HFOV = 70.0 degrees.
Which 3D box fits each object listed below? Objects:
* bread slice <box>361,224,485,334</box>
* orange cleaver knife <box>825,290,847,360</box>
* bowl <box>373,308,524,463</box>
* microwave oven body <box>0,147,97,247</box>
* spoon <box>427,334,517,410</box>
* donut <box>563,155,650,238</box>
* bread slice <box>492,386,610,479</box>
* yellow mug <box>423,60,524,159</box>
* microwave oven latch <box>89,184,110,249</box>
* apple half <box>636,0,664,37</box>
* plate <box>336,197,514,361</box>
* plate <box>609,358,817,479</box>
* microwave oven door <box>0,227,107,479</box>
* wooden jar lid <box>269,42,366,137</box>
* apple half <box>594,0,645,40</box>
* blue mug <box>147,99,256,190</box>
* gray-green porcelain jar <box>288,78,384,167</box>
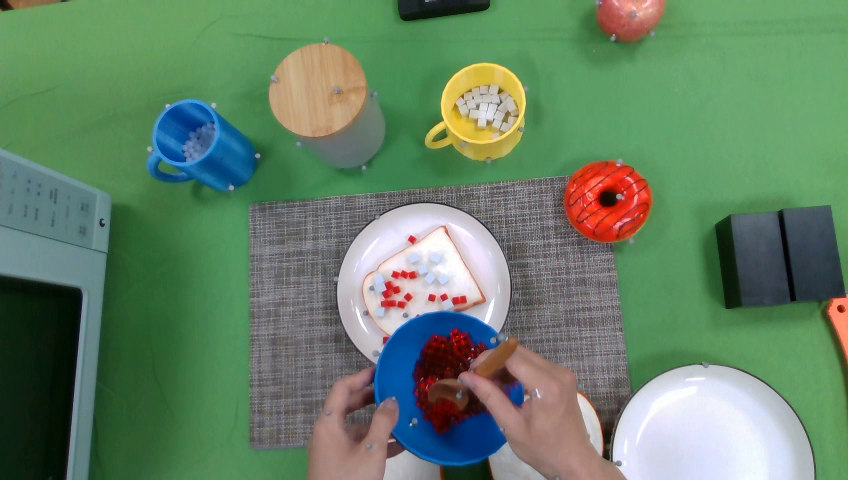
[{"bbox_3d":[-0.008,0.056,0.719,0.131,0.019,0.104,-31,78,0],"label":"bread slice"},{"bbox_3d":[0.487,0.148,0.652,0.077,0.012,0.210,-3,79,0],"label":"orange cleaver knife"},{"bbox_3d":[0.018,0.153,0.615,0.152,0.077,0.150,6,63,-11],"label":"bowl"},{"bbox_3d":[-0.580,0.131,0.664,0.326,0.261,0.440,-1,81,7],"label":"microwave oven body"},{"bbox_3d":[0.044,0.124,0.549,0.042,0.194,0.021,27,60,-3],"label":"spoon"},{"bbox_3d":[0.211,-0.050,0.704,0.099,0.048,0.098,-1,81,7],"label":"donut"},{"bbox_3d":[0.134,0.214,0.649,0.134,0.018,0.106,-9,75,-15],"label":"bread slice"},{"bbox_3d":[0.057,-0.149,0.734,0.131,0.064,0.099,-28,78,2],"label":"yellow mug"},{"bbox_3d":[-0.421,-0.030,0.770,0.030,0.029,0.079,0,81,7],"label":"microwave oven latch"},{"bbox_3d":[0.256,-0.290,0.728,0.053,0.075,0.080,-36,74,-5],"label":"apple half"},{"bbox_3d":[0.002,0.054,0.717,0.207,0.039,0.207,-1,80,7],"label":"plate"},{"bbox_3d":[0.304,0.232,0.651,0.209,0.038,0.208,-1,80,8],"label":"plate"},{"bbox_3d":[-0.436,0.168,0.634,0.039,0.245,0.354,-2,80,7],"label":"microwave oven door"},{"bbox_3d":[-0.115,-0.162,0.663,0.108,0.021,0.108,-2,78,8],"label":"wooden jar lid"},{"bbox_3d":[0.225,-0.266,0.726,0.033,0.081,0.081,-37,77,-5],"label":"apple half"},{"bbox_3d":[-0.282,-0.107,0.749,0.116,0.106,0.082,-30,77,2],"label":"blue mug"},{"bbox_3d":[-0.107,-0.151,0.724,0.106,0.127,0.105,-1,80,7],"label":"gray-green porcelain jar"}]
